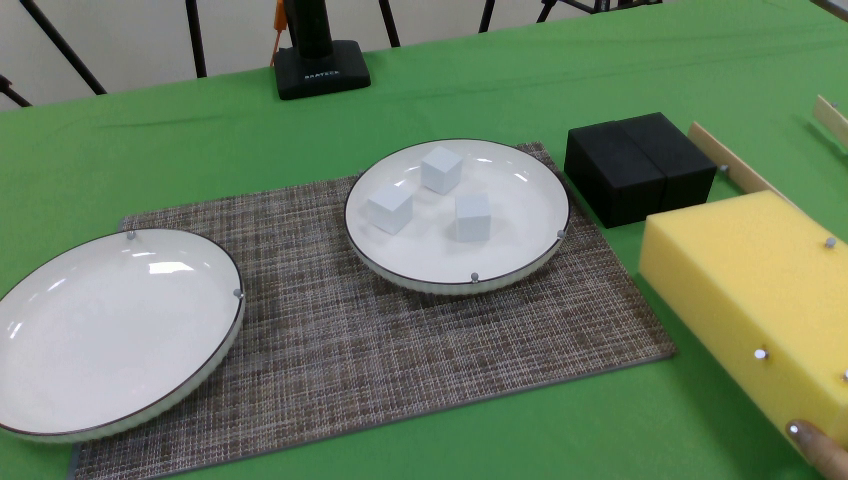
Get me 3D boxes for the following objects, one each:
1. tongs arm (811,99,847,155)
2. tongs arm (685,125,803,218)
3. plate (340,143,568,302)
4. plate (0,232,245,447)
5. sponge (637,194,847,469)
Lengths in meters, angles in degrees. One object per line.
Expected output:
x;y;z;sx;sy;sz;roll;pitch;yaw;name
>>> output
0.436;-0.013;0.539;0.051;0.027;0.380;-8;44;-2;tongs arm
0.357;0.004;0.533;0.028;0.028;0.383;-15;44;-14;tongs arm
0.027;-0.017;0.567;0.207;0.039;0.205;-2;43;2;plate
-0.246;0.076;0.489;0.209;0.038;0.207;-2;43;2;plate
0.266;0.052;0.447;0.118;0.061;0.204;-13;37;-10;sponge
